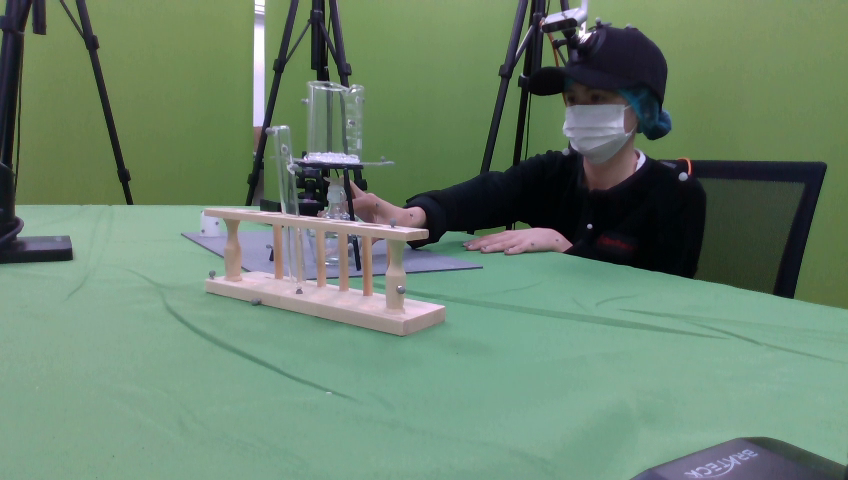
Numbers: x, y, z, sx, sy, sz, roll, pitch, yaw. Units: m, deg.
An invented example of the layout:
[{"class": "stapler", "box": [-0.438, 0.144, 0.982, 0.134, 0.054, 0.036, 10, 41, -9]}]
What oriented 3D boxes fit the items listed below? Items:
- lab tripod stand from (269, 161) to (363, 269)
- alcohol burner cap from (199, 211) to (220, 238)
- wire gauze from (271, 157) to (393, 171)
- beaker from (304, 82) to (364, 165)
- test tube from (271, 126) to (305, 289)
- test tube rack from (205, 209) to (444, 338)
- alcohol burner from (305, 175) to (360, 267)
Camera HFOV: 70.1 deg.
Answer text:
[{"class": "lab tripod stand", "box": [-0.125, -0.036, 0.794, 0.148, 0.131, 0.148, 5, 7, 0]}, {"class": "alcohol burner cap", "box": [-0.356, -0.027, 1.002, 0.034, 0.048, 0.034, 2, 7, 0]}, {"class": "wire gauze", "box": [-0.122, -0.100, 0.786, 0.122, 0.011, 0.124, -5, 14, -38]}, {"class": "beaker", "box": [-0.115, -0.148, 0.779, 0.074, 0.100, 0.083, -2, 10, -30]}, {"class": "test tube", "box": [-0.124, -0.028, 0.554, 0.017, 0.150, 0.017, -5, 7, 1]}, {"class": "test tube rack", "box": [-0.100, 0.021, 0.565, 0.241, 0.085, 0.067, 7, 8, 32]}, {"class": "alcohol burner", "box": [-0.117, -0.025, 0.792, 0.078, 0.119, 0.078, 1, 9, 0]}]
